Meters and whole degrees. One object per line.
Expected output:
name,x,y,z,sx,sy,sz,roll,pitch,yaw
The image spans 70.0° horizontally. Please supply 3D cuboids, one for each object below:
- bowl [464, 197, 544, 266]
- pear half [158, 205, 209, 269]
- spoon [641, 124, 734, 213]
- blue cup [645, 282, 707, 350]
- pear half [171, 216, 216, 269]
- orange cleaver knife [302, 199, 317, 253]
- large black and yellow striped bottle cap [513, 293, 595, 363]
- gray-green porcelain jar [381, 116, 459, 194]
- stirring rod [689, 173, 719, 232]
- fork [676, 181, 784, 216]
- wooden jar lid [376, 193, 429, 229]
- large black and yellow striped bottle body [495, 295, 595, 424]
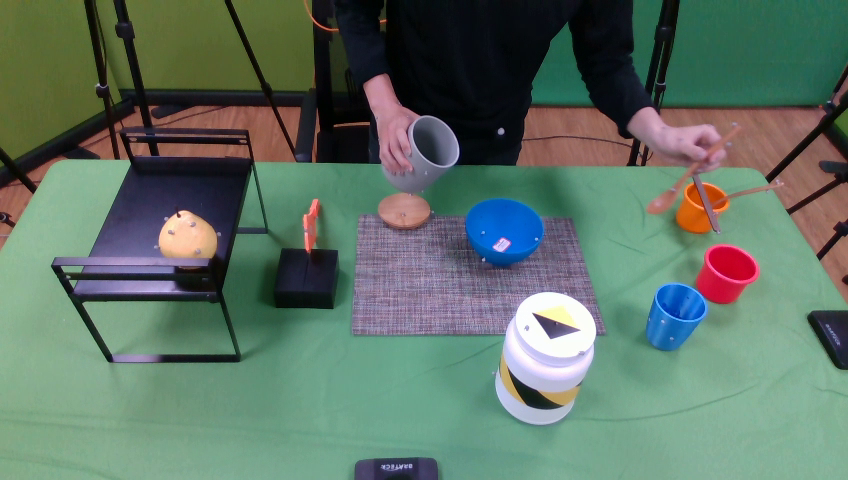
bowl,0.149,-0.004,1.167,0.151,0.077,0.150,2,46,-2
pear half,-0.352,-0.015,0.872,0.056,0.110,0.076,26,46,19
spoon,0.431,-0.115,0.997,0.022,0.194,0.041,26,33,-14
blue cup,0.425,0.136,1.042,0.093,0.101,0.092,1,45,-1
pear half,-0.323,0.007,0.866,0.031,0.088,0.070,25,46,20
orange cleaver knife,-0.219,-0.031,1.168,0.012,0.077,0.210,-4,17,-3
large black and yellow striped bottle cap,0.186,0.123,0.863,0.115,0.019,0.114,3,45,-3
gray-green porcelain jar,-0.013,-0.152,1.121,0.106,0.126,0.105,16,60,-29
stirring rod,0.566,-0.080,1.225,0.014,0.006,0.175,2,46,2
fork,0.618,-0.084,1.235,0.207,0.019,0.028,-23,20,38
wooden jar lid,-0.044,-0.058,1.246,0.108,0.021,0.107,3,40,-2
large black and yellow striped bottle body,0.183,0.182,0.923,0.131,0.185,0.130,2,46,-2
